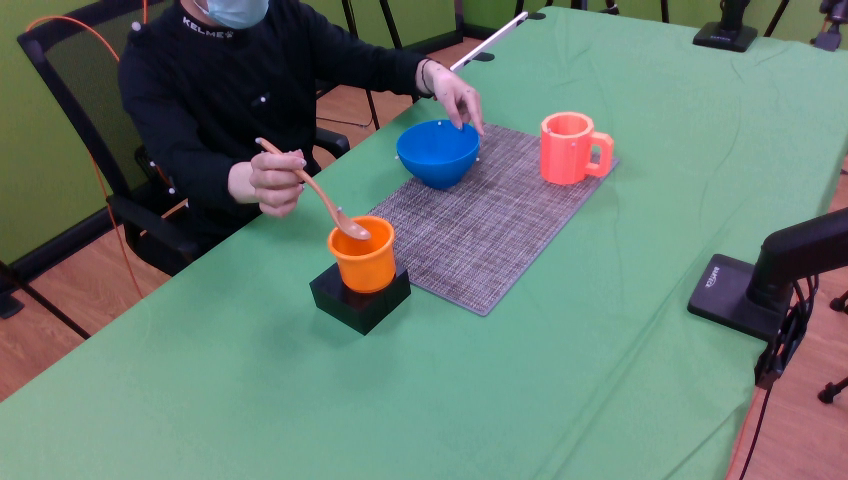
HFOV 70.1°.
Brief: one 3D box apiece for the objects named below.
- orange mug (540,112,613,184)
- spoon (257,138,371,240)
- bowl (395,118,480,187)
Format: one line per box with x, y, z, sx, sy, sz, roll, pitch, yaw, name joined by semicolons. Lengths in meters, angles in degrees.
0.263;-0.157;1.050;0.125;0.101;0.083;14;45;29;orange mug
-0.145;-0.067;0.798;0.021;0.194;0.041;-40;9;20;spoon
0.027;-0.148;1.087;0.151;0.077;0.150;-4;41;4;bowl
